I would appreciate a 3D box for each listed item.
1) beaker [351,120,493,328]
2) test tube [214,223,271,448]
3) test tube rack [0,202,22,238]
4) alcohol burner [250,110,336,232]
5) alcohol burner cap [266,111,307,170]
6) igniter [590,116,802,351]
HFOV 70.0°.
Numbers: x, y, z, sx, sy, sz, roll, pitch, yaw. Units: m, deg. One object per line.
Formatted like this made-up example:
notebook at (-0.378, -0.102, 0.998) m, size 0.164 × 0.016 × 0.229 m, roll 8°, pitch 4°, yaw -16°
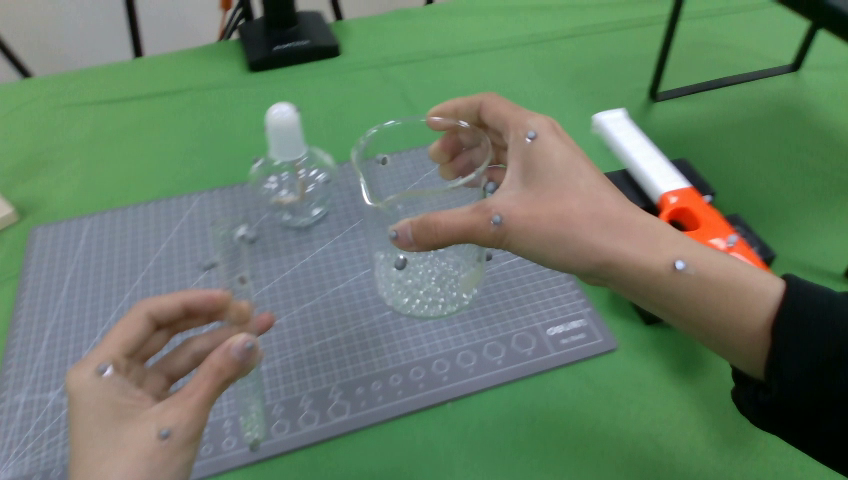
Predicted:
beaker at (0.000, -0.004, 0.345) m, size 0.073 × 0.101 × 0.083 m, roll 19°, pitch 45°, yaw 26°
test tube at (-0.095, 0.058, 0.325) m, size 0.017 × 0.151 × 0.017 m, roll 3°, pitch 32°, yaw -1°
test tube rack at (-0.489, 0.007, 0.502) m, size 0.066 × 0.086 × 0.242 m, roll 30°, pitch 53°, yaw 29°
alcohol burner at (-0.119, -0.065, 0.541) m, size 0.078 × 0.120 × 0.077 m, roll 1°, pitch 45°, yaw 0°
alcohol burner cap at (-0.120, -0.088, 0.520) m, size 0.034 × 0.048 × 0.033 m, roll 1°, pitch 42°, yaw -1°
igniter at (0.205, -0.022, 0.487) m, size 0.057 × 0.025 × 0.273 m, roll -13°, pitch 43°, yaw -6°
